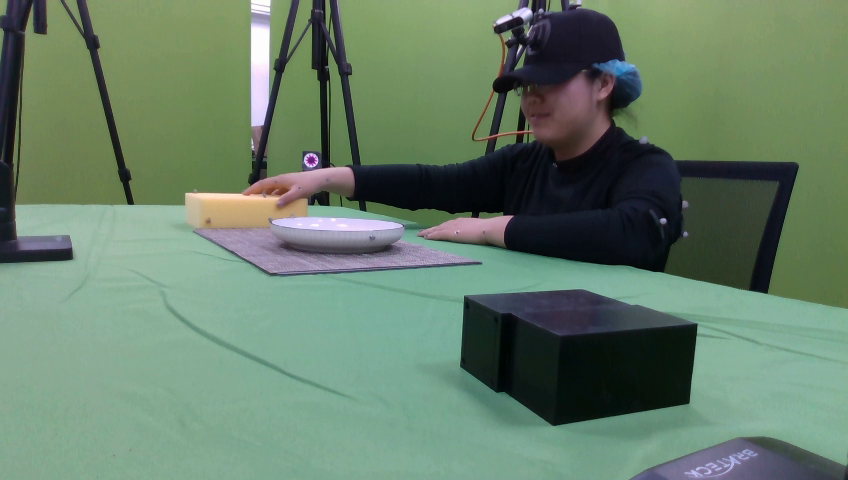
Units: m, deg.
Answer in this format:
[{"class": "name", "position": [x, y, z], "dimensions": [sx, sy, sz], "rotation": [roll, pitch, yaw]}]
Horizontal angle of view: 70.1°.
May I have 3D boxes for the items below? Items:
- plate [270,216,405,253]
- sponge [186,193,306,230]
[{"class": "plate", "position": [-0.134, -0.009, 0.946], "dimensions": [0.208, 0.039, 0.207], "rotation": [3, 7, 0]}, {"class": "sponge", "position": [-0.350, -0.058, 1.193], "dimensions": [0.208, 0.061, 0.117], "rotation": [-3, 9, -34]}]
